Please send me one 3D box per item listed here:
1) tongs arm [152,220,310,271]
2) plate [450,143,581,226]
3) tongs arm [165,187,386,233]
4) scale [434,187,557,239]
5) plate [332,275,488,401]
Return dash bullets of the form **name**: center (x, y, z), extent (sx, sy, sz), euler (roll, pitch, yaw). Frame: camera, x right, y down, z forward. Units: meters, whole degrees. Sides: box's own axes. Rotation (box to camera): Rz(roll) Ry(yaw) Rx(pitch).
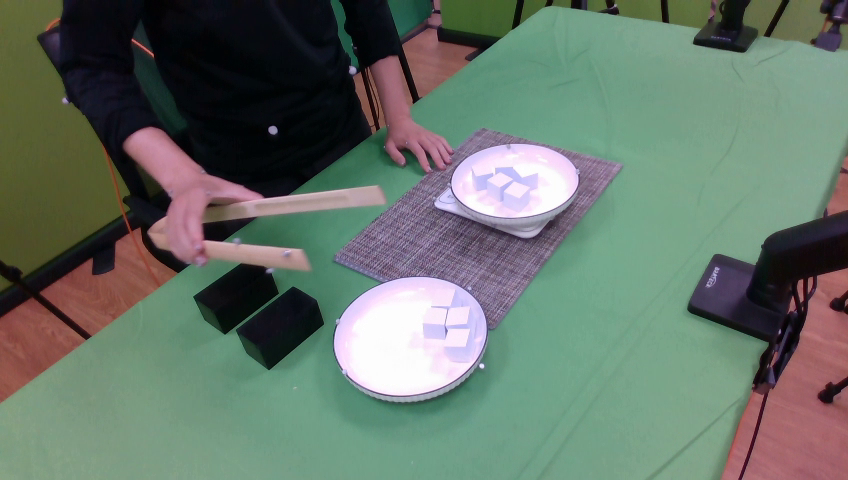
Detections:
- **tongs arm**: center (-0.244, 0.001, 0.735), extent (0.381, 0.026, 0.051), euler (3, 37, 42)
- **plate**: center (0.148, -0.087, 0.986), extent (0.209, 0.038, 0.208), euler (-4, 41, 4)
- **tongs arm**: center (-0.206, -0.037, 0.779), extent (0.385, 0.028, 0.028), euler (-4, 36, 34)
- **scale**: center (0.132, -0.074, 1.025), extent (0.199, 0.032, 0.149), euler (22, 48, 30)
- **plate**: center (-0.017, 0.131, 0.808), extent (0.207, 0.039, 0.206), euler (-4, 41, 4)
